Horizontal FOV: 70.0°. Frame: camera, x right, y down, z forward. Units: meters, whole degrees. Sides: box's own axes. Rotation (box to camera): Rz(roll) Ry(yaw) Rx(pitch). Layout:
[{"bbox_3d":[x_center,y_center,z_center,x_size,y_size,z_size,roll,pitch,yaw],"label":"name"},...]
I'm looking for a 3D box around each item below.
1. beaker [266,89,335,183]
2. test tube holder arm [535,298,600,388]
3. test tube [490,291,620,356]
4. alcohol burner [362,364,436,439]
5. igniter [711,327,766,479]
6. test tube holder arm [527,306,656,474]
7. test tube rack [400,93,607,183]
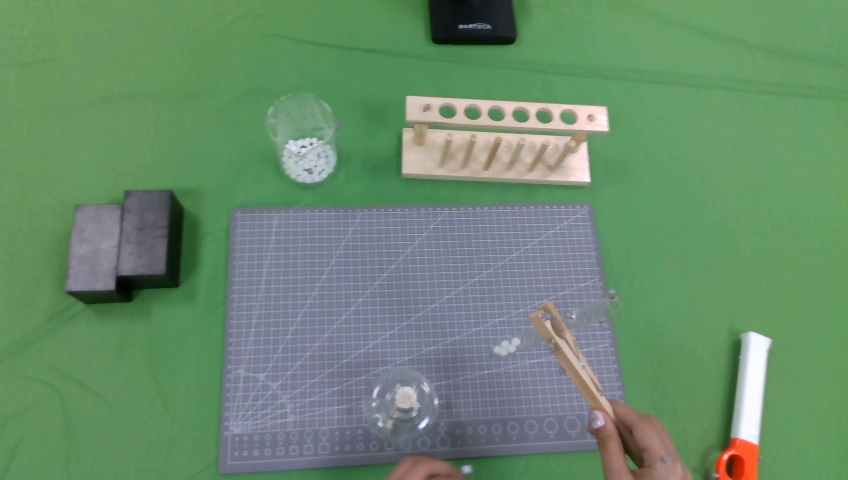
[{"bbox_3d":[-0.142,-0.115,0.715,0.074,0.101,0.083,1,71,-5],"label":"beaker"},{"bbox_3d":[0.122,0.089,0.513,0.010,0.015,0.088,-31,93,-40],"label":"test tube holder arm"},{"bbox_3d":[0.104,0.073,0.512,0.017,0.150,0.017,16,59,-28],"label":"test tube"},{"bbox_3d":[-0.024,0.163,0.618,0.078,0.119,0.077,3,69,-6],"label":"alcohol burner"},{"bbox_3d":[0.354,0.232,0.683,0.057,0.025,0.275,22,70,-8],"label":"igniter"},{"bbox_3d":[0.143,0.129,0.513,0.013,0.015,0.179,-41,98,-38],"label":"test tube holder arm"},{"bbox_3d":[0.094,-0.124,0.751,0.243,0.085,0.066,2,71,-5],"label":"test tube rack"}]
